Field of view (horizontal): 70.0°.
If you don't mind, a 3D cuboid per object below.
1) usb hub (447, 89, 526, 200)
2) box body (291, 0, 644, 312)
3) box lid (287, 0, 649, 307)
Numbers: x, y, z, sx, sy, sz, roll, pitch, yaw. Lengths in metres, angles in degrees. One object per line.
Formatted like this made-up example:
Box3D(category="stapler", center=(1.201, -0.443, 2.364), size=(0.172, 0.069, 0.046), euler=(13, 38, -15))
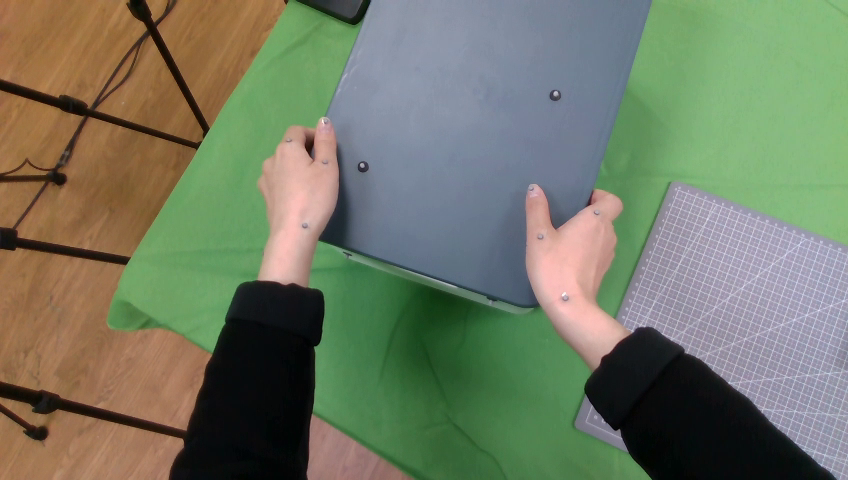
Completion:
Box3D(category="usb hub", center=(0.073, -0.111, 0.703), size=(0.049, 0.025, 0.125), euler=(23, 78, 12))
Box3D(category="box body", center=(0.054, -0.125, 0.646), size=(0.253, 0.161, 0.363), euler=(18, 80, 9))
Box3D(category="box lid", center=(0.046, -0.141, 0.574), size=(0.262, 0.015, 0.370), euler=(18, 80, 9))
